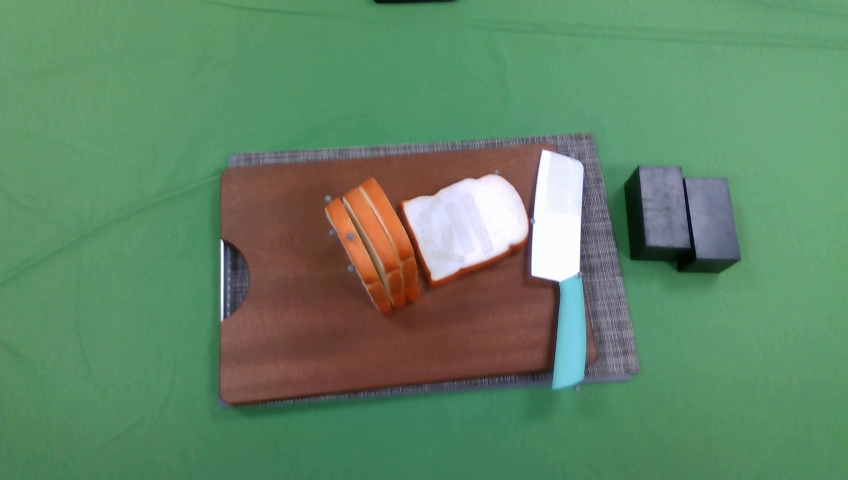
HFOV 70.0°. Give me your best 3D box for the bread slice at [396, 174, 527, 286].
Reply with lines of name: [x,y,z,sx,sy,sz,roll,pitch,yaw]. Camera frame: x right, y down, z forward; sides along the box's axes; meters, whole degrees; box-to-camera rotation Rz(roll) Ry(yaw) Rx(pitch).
bread slice: [0.047,-0.017,0.684,0.134,0.018,0.106,-17,76,-4]

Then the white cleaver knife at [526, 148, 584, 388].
white cleaver knife: [0.146,0.023,0.681,0.066,0.021,0.284,8,66,-4]

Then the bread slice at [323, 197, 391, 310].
bread slice: [-0.070,0.013,0.614,0.019,0.132,0.104,-28,72,-6]
